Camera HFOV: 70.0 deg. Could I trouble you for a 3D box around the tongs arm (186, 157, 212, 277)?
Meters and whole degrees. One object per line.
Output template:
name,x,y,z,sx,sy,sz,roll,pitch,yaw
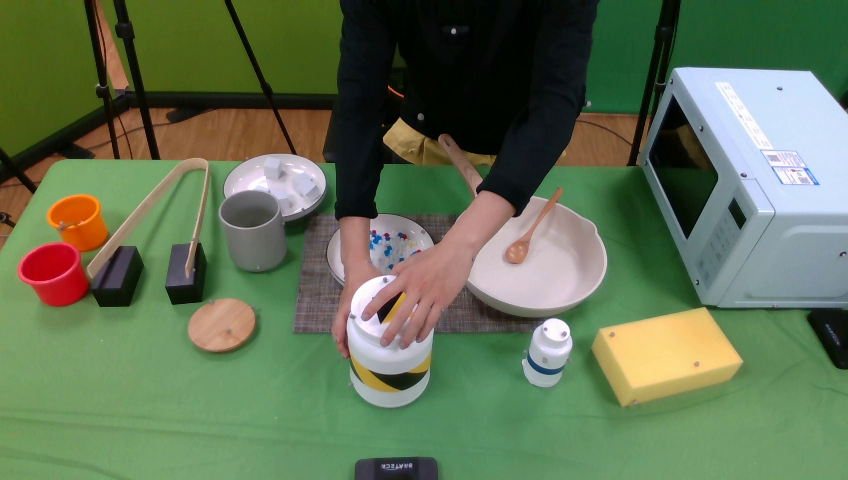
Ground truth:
tongs arm,-0.445,-0.058,1.168,0.051,0.026,0.382,-5,37,-6

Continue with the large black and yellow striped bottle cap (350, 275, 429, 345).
large black and yellow striped bottle cap,-0.049,0.098,0.867,0.115,0.019,0.114,2,49,-2

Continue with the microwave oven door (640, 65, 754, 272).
microwave oven door,0.523,-0.148,1.193,0.039,0.245,0.353,0,47,-3

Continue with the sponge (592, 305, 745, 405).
sponge,0.405,0.190,1.015,0.207,0.061,0.117,-10,48,-12

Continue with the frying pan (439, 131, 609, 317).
frying pan,0.149,-0.049,1.189,0.307,0.103,0.484,-17,58,-20

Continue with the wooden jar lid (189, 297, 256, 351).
wooden jar lid,-0.342,0.145,1.033,0.108,0.021,0.107,2,45,-2

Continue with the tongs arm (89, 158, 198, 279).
tongs arm,-0.529,-0.057,1.164,0.028,0.028,0.385,1,36,8

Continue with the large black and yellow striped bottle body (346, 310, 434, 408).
large black and yellow striped bottle body,-0.052,0.158,0.929,0.131,0.185,0.130,2,46,-2

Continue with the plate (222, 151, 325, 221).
plate,-0.310,-0.106,1.262,0.208,0.039,0.206,2,47,-2

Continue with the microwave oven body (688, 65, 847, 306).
microwave oven body,0.669,-0.111,1.176,0.326,0.261,0.439,0,46,-3

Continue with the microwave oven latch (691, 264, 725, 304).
microwave oven latch,0.521,0.081,1.116,0.030,0.029,0.078,0,46,-3

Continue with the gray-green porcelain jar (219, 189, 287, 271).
gray-green porcelain jar,-0.309,-0.014,1.113,0.106,0.127,0.105,2,46,-2

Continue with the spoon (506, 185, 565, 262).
spoon,0.224,-0.034,1.188,0.041,0.022,0.193,30,79,28

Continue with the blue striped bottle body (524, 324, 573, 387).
blue striped bottle body,0.200,0.178,0.970,0.063,0.121,0.062,2,46,-2

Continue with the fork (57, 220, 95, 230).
fork,-0.624,-0.027,1.086,0.028,0.207,0.018,-3,92,-17

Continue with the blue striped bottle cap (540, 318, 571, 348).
blue striped bottle cap,0.203,0.142,0.933,0.044,0.021,0.044,4,49,-4

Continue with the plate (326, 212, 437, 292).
plate,-0.080,0.030,1.143,0.209,0.038,0.208,2,46,-2
